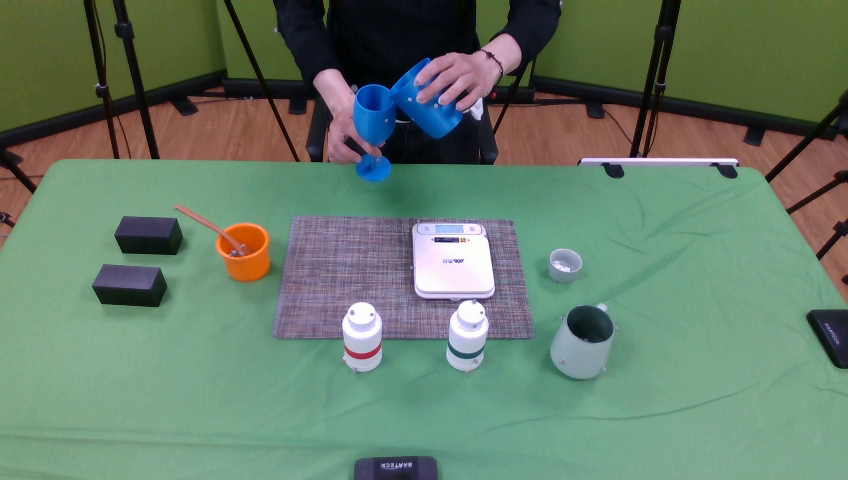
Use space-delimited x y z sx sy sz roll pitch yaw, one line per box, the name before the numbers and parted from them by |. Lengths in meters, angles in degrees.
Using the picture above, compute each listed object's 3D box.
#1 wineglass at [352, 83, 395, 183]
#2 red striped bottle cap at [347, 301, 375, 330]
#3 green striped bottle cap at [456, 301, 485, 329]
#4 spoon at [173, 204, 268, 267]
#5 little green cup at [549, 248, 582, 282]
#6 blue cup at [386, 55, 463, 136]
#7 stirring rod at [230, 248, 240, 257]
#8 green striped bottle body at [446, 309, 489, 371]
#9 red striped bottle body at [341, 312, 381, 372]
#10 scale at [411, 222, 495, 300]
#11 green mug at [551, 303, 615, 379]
wineglass | -0.086 -0.180 1.032 0.074 0.173 0.073 3 56 -4
red striped bottle cap | -0.097 0.116 0.934 0.044 0.018 0.044 2 49 -3
green striped bottle cap | 0.073 0.116 0.943 0.044 0.020 0.044 4 46 -4
spoon | -0.363 -0.009 1.089 0.021 0.195 0.041 -35 31 23
little green cup | 0.268 0.050 1.156 0.061 0.039 0.061 1 45 -1
blue cup | 0.007 -0.216 0.931 0.100 0.092 0.092 46 43 -22
stirring rod | -0.330 0.023 1.059 0.014 0.176 0.006 33 79 -11
green striped bottle body | 0.070 0.155 0.984 0.063 0.120 0.063 2 46 -2
red striped bottle body | -0.100 0.154 0.972 0.063 0.120 0.062 2 45 -2
scale | 0.052 0.031 1.158 0.149 0.032 0.199 1 46 -4
green mug | 0.271 0.157 1.007 0.092 0.105 0.125 27 50 21
